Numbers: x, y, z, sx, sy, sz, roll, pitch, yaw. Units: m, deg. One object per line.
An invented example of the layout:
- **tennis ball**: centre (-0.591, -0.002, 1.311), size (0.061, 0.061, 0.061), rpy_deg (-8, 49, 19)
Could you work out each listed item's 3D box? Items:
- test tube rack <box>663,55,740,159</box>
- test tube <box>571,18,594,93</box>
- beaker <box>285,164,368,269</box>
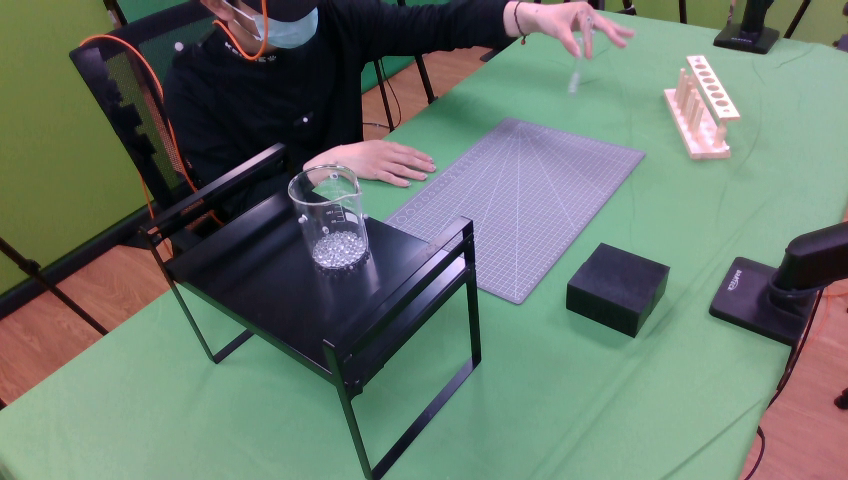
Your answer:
- **test tube rack**: centre (0.518, -0.256, 1.144), size (0.066, 0.085, 0.241), rpy_deg (-1, 41, 8)
- **test tube**: centre (0.278, -0.321, 1.067), size (0.017, 0.151, 0.017), rpy_deg (-1, 52, 2)
- **beaker**: centre (-0.101, -0.024, 0.676), size (0.083, 0.101, 0.074), rpy_deg (8, 44, 17)
